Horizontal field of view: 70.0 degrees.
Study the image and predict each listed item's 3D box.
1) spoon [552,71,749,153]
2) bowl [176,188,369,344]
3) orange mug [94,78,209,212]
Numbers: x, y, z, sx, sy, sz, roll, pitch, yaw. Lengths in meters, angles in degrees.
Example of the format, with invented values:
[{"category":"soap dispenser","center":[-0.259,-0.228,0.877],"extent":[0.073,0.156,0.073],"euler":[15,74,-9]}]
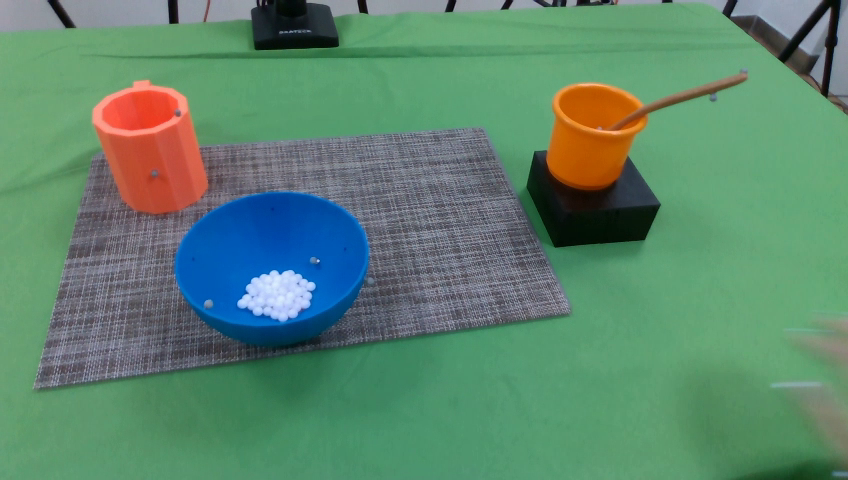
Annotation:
[{"category":"spoon","center":[0.206,-0.120,0.578],"extent":[0.022,0.193,0.041],"euler":[55,47,-14]},{"category":"bowl","center":[-0.121,0.034,0.509],"extent":[0.151,0.077,0.150],"euler":[3,45,-3]},{"category":"orange mug","center":[-0.275,-0.105,0.618],"extent":[0.084,0.101,0.125],"euler":[-12,52,-16]}]
